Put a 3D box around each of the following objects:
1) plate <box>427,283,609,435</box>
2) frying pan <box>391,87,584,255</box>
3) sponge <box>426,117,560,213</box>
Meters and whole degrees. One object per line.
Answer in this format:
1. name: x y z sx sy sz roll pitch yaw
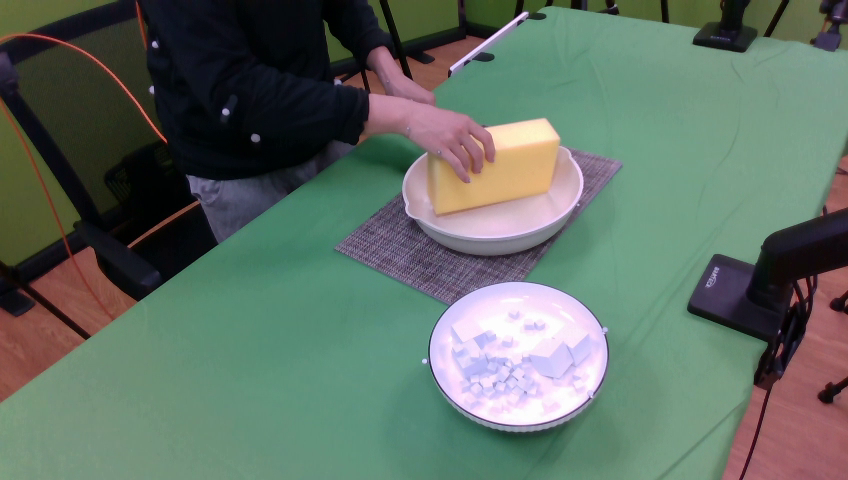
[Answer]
1. plate: 0.108 0.137 0.708 0.207 0.039 0.206 -4 42 4
2. frying pan: 0.063 -0.143 1.056 0.308 0.103 0.483 -22 51 -18
3. sponge: 0.110 -0.123 0.994 0.208 0.118 0.060 -12 48 -14
